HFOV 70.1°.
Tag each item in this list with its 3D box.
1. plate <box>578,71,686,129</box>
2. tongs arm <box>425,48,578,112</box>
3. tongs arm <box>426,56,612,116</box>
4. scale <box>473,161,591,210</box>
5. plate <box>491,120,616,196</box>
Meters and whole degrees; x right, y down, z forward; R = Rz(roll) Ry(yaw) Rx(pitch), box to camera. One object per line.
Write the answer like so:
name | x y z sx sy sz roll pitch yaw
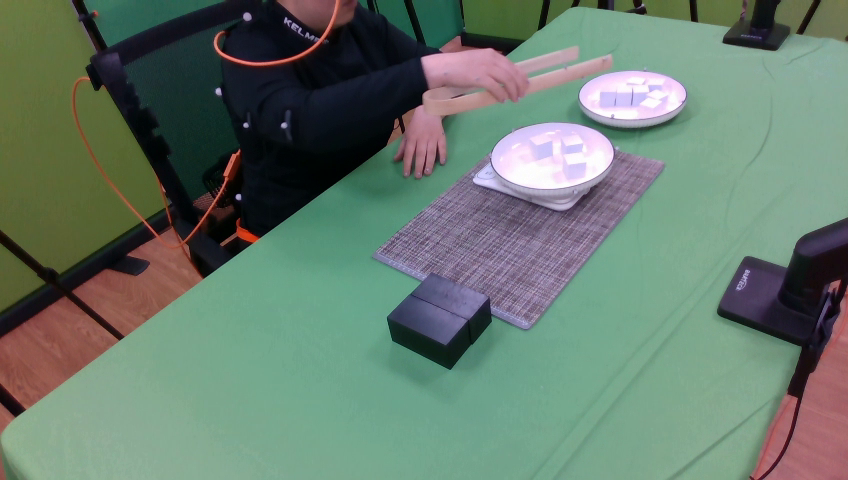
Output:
plate | 0.416 -0.279 1.222 0.209 0.038 0.208 -5 41 5
tongs arm | 0.147 -0.288 1.068 0.389 0.028 0.028 -25 43 -31
tongs arm | 0.174 -0.269 1.035 0.387 0.026 0.050 -23 39 -29
scale | 0.202 -0.121 1.074 0.199 0.032 0.149 23 49 33
plate | 0.221 -0.137 1.038 0.207 0.039 0.206 -6 41 5
